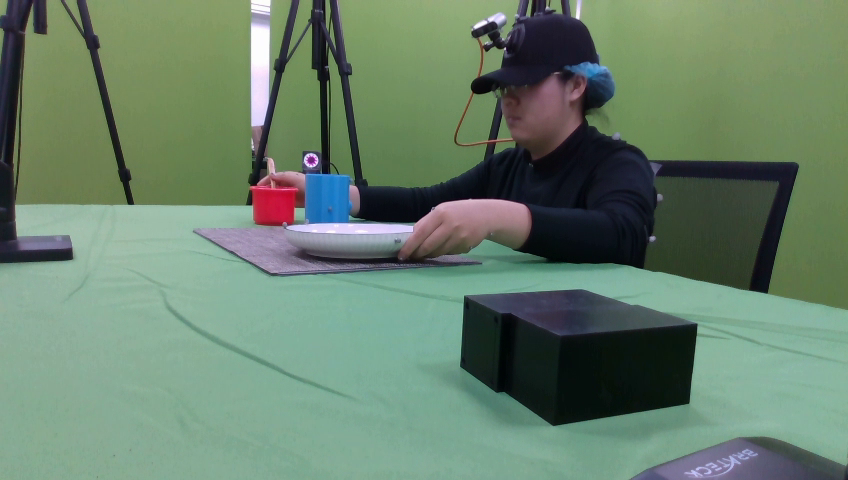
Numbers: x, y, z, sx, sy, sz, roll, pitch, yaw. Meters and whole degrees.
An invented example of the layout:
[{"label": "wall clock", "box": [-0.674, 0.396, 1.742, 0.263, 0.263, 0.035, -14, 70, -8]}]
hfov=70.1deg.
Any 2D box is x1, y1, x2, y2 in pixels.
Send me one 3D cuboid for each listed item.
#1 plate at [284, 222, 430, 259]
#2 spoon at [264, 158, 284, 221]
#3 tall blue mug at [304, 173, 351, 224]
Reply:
[{"label": "plate", "box": [-0.095, 0.000, 0.870, 0.208, 0.039, 0.207, 1, 6, 0]}, {"label": "spoon", "box": [-0.318, -0.110, 1.274, 0.042, 0.021, 0.193, 5, 50, -22]}, {"label": "tall blue mug", "box": [-0.178, -0.062, 1.062, 0.078, 0.108, 0.106, -4, 10, -38]}]
